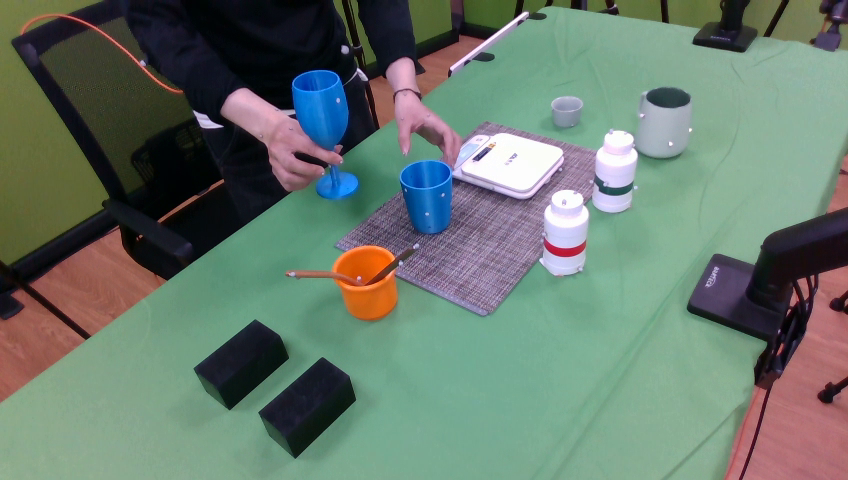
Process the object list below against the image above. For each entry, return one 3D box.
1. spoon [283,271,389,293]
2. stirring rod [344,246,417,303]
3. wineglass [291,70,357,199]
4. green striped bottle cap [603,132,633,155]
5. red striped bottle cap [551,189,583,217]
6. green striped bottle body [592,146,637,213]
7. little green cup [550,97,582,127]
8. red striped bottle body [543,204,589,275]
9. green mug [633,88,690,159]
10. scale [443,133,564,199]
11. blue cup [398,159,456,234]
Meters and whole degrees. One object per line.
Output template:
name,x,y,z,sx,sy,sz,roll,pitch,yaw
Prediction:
spoon,-0.117,0.054,0.825,0.041,0.195,0.021,17,89,37
stirring rod,-0.062,0.050,0.819,0.014,0.175,0.006,-2,63,-40
wineglass,-0.138,-0.145,0.850,0.074,0.173,0.073,-3,41,3
green striped bottle cap,0.302,-0.149,0.939,0.044,0.020,0.044,-3,40,3
red striped bottle cap,0.200,-0.052,0.843,0.044,0.018,0.044,-2,42,3
green striped bottle body,0.307,-0.108,0.976,0.063,0.120,0.063,-4,41,4
little green cup,0.284,-0.255,1.213,0.061,0.039,0.061,-4,41,4
red striped bottle body,0.206,-0.011,0.878,0.063,0.120,0.062,-4,41,4
green mug,0.423,-0.217,1.099,0.093,0.105,0.124,-16,41,-9
scale,0.137,-0.141,1.101,0.199,0.032,0.149,22,48,30
blue cup,0.005,-0.065,0.976,0.092,0.100,0.092,-4,39,3
